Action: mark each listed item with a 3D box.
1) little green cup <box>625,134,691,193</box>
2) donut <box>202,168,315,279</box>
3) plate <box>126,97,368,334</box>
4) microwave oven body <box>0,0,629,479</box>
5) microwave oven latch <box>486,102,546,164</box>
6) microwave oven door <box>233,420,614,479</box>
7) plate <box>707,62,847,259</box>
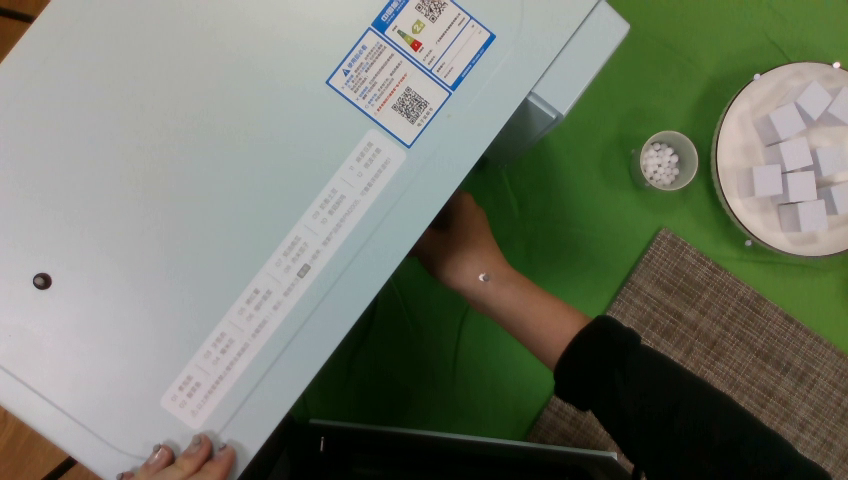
[{"bbox_3d":[0.244,-0.078,0.637,0.061,0.038,0.061,0,91,-4],"label":"little green cup"},{"bbox_3d":[-0.146,-0.015,0.540,0.099,0.048,0.099,0,89,-7],"label":"donut"},{"bbox_3d":[-0.155,-0.021,0.545,0.209,0.038,0.209,0,92,-5],"label":"plate"},{"bbox_3d":[-0.129,-0.066,0.498,0.326,0.260,0.441,37,88,-3],"label":"microwave oven body"},{"bbox_3d":[0.090,-0.115,0.609,0.030,0.029,0.079,41,88,-3],"label":"microwave oven latch"},{"bbox_3d":[0.026,0.213,0.499,0.356,0.243,0.039,7,88,-4],"label":"microwave oven door"},{"bbox_3d":[0.400,-0.083,0.650,0.208,0.039,0.207,0,89,-4],"label":"plate"}]
